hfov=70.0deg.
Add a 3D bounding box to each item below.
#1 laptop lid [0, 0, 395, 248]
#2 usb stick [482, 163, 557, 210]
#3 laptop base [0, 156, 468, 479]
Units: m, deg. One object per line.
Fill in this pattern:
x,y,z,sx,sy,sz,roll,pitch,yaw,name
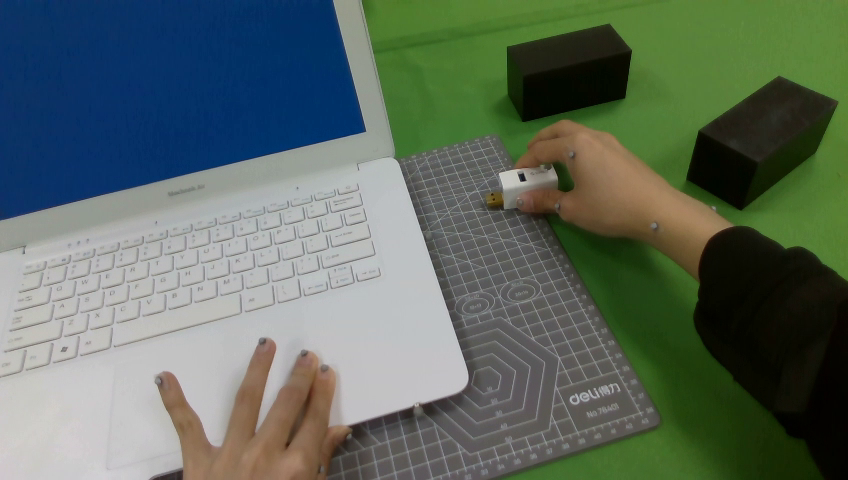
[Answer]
-0.214,-0.122,0.455,0.357,0.244,0.013,-16,34,-4,laptop lid
0.075,-0.041,0.486,0.059,0.027,0.021,-13,45,3,usb stick
-0.166,0.058,0.443,0.354,0.023,0.233,-15,51,-5,laptop base
